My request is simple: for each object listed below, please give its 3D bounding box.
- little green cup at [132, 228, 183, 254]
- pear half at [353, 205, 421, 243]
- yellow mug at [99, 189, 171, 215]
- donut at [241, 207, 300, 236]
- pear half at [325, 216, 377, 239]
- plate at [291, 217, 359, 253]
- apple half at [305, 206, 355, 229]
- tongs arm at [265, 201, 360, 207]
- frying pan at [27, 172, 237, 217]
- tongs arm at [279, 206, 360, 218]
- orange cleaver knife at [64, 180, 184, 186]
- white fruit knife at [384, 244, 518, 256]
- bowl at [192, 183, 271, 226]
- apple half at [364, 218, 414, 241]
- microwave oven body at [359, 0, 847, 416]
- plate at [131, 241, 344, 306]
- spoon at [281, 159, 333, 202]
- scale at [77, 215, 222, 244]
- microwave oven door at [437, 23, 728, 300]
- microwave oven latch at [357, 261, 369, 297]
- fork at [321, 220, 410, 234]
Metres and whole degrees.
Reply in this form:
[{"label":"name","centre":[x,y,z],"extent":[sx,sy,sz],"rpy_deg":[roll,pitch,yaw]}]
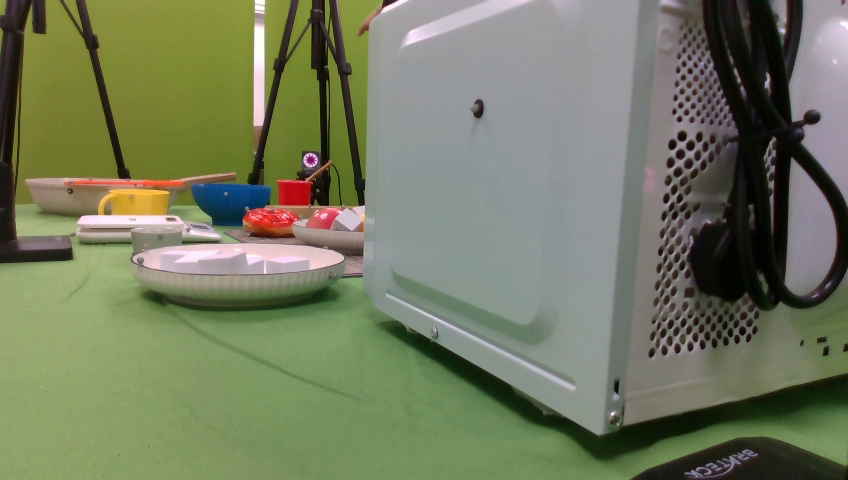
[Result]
[{"label":"little green cup","centre":[-0.342,0.006,0.779],"extent":[0.061,0.038,0.061],"rpy_deg":[2,8,0]},{"label":"pear half","centre":[-0.051,-0.023,0.905],"extent":[0.110,0.056,0.076],"rpy_deg":[2,-2,-38]},{"label":"yellow mug","centre":[-0.519,-0.055,1.080],"extent":[0.099,0.064,0.131],"rpy_deg":[7,10,26]},{"label":"donut","centre":[-0.263,-0.031,1.039],"extent":[0.099,0.048,0.099],"rpy_deg":[5,9,0]},{"label":"pear half","centre":[-0.119,-0.023,0.996],"extent":[0.088,0.031,0.070],"rpy_deg":[-4,23,-28]},{"label":"plate","centre":[-0.103,-0.009,0.945],"extent":[0.209,0.038,0.209],"rpy_deg":[2,7,0]},{"label":"apple half","centre":[-0.138,-0.025,0.917],"extent":[0.081,0.053,0.074],"rpy_deg":[0,10,-43]},{"label":"tongs arm","centre":[-0.219,-0.077,1.470],"extent":[0.389,0.028,0.028],"rpy_deg":[0,2,-26]},{"label":"frying pan","centre":[-0.624,-0.118,1.387],"extent":[0.305,0.102,0.490],"rpy_deg":[8,17,32]},{"label":"tongs arm","centre":[-0.171,-0.067,1.402],"extent":[0.387,0.026,0.050],"rpy_deg":[-3,7,-40]},{"label":"orange cleaver knife","centre":[-0.595,-0.114,1.212],"extent":[0.212,0.012,0.077],"rpy_deg":[-4,6,-41]},{"label":"white fruit knife","centre":[0.041,0.016,0.878],"extent":[0.208,0.016,0.027],"rpy_deg":[-2,-3,-24]},{"label":"bowl","centre":[-0.382,-0.070,1.202],"extent":[0.151,0.077,0.151],"rpy_deg":[3,7,0]},{"label":"apple half","centre":[-0.054,-0.019,0.968],"extent":[0.081,0.033,0.081],"rpy_deg":[-2,9,1]},{"label":"microwave oven body","centre":[0.211,-0.047,0.474],"extent":[0.444,0.260,0.324],"rpy_deg":[-1,7,-28]},{"label":"plate","centre":[-0.187,0.033,0.625],"extent":[0.208,0.039,0.207],"rpy_deg":[2,7,0]},{"label":"spoon","centre":[-0.316,-0.159,1.640],"extent":[0.194,0.022,0.041],"rpy_deg":[-50,32,-20]},{"label":"scale","centre":[-0.434,-0.019,0.963],"extent":[0.202,0.031,0.148],"rpy_deg":[-1,9,-27]},{"label":"microwave oven door","centre":[0.181,-0.072,0.621],"extent":[0.358,0.243,0.039],"rpy_deg":[-2,8,-29]},{"label":"microwave oven latch","centre":[-0.019,0.033,0.531],"extent":[0.079,0.029,0.030],"rpy_deg":[-1,7,-26]},{"label":"fork","centre":[-0.105,-0.025,1.131],"extent":[0.208,0.028,0.018],"rpy_deg":[-1,34,-40]}]
